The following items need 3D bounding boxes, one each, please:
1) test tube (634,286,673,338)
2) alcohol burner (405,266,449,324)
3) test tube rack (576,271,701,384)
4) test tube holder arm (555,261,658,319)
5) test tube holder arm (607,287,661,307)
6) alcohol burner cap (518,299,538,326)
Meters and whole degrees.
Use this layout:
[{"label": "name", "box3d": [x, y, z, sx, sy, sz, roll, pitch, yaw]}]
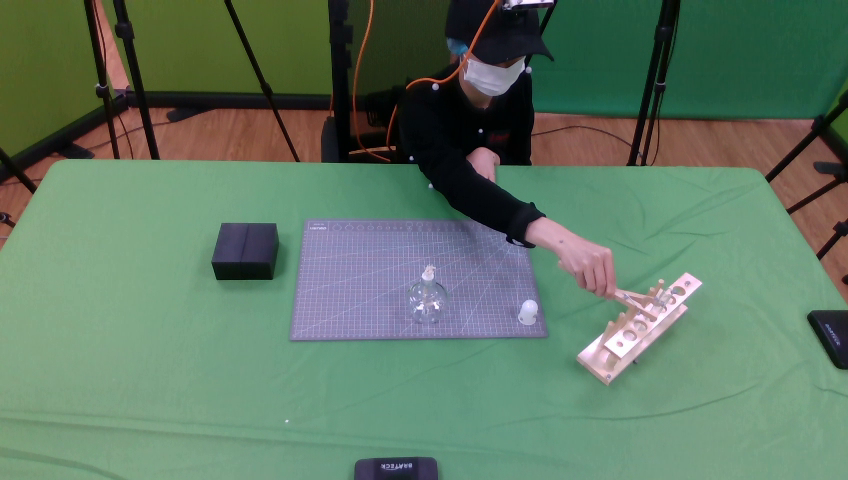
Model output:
[{"label": "test tube", "box3d": [0.374, 0.123, 0.993, 0.017, 0.151, 0.017, 2, 52, -2]}, {"label": "alcohol burner", "box3d": [0.005, 0.089, 1.043, 0.078, 0.120, 0.077, 1, 45, -1]}, {"label": "test tube rack", "box3d": [0.373, 0.138, 1.048, 0.242, 0.085, 0.066, -31, 56, -29]}, {"label": "test tube holder arm", "box3d": [0.298, 0.081, 0.995, 0.178, 0.015, 0.013, 28, 53, 17]}, {"label": "test tube holder arm", "box3d": [0.340, 0.093, 0.988, 0.088, 0.015, 0.010, 12, 51, 4]}, {"label": "alcohol burner cap", "box3d": [0.186, 0.126, 1.072, 0.034, 0.048, 0.033, 2, 44, -1]}]
